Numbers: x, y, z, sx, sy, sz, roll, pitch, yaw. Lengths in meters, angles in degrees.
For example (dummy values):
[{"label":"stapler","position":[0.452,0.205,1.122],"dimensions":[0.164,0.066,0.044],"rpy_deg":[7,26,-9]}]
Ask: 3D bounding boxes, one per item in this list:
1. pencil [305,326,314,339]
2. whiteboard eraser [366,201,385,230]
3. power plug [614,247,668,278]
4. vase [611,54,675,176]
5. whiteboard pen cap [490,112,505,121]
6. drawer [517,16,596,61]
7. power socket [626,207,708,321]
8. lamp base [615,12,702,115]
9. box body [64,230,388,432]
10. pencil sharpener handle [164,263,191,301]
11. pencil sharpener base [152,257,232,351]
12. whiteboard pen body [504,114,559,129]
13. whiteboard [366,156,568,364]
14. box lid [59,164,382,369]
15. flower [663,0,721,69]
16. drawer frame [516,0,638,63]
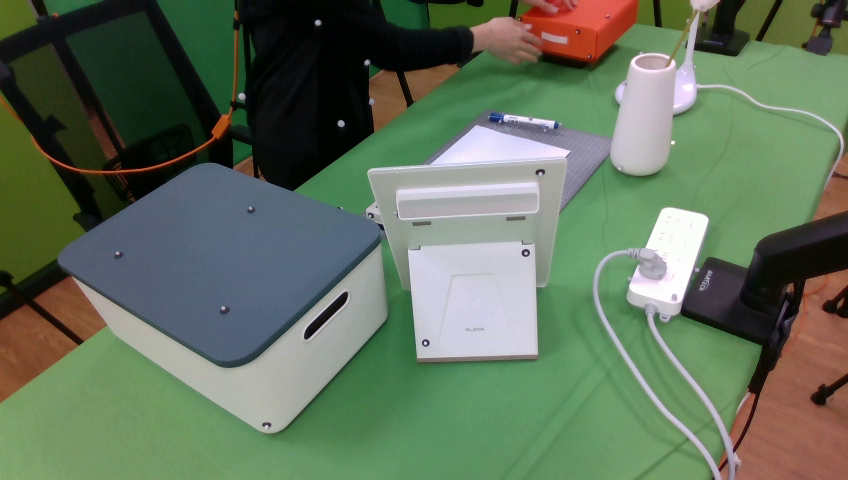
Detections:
[{"label":"pencil","position":[-0.187,0.106,0.880],"dimensions":[0.012,0.012,0.192],"rpy_deg":[-27,41,-22]},{"label":"whiteboard eraser","position":[-0.038,-0.038,1.006],"dimensions":[0.112,0.042,0.055],"rpy_deg":[16,48,25]},{"label":"power plug","position":[0.306,0.031,0.851],"dimensions":[0.072,0.053,0.035],"rpy_deg":[24,49,33]},{"label":"vase","position":[0.377,-0.209,1.031],"dimensions":[0.098,0.201,0.097],"rpy_deg":[-4,40,3]},{"label":"whiteboard pen cap","position":[0.154,-0.254,1.250],"dimensions":[0.033,0.018,0.018],"rpy_deg":[14,45,26]},{"label":"drawer","position":[0.352,-0.505,1.406],"dimensions":[0.193,0.073,0.212],"rpy_deg":[23,48,32]},{"label":"power socket","position":[0.360,0.025,0.886],"dimensions":[0.072,0.033,0.227],"rpy_deg":[16,46,26]},{"label":"lamp base","position":[0.484,-0.364,1.211],"dimensions":[0.180,0.181,0.159],"rpy_deg":[-15,41,-14]},{"label":"box body","position":[-0.256,0.065,0.827],"dimensions":[0.361,0.161,0.255],"rpy_deg":[20,48,29]},{"label":"pencil sharpener handle","position":[-0.354,0.055,0.866],"dimensions":[0.036,0.068,0.030],"rpy_deg":[-17,39,-29]},{"label":"pencil sharpener base","position":[-0.322,0.088,0.841],"dimensions":[0.061,0.107,0.076],"rpy_deg":[-27,44,-20]},{"label":"whiteboard pen body","position":[0.205,-0.242,1.225],"dimensions":[0.140,0.017,0.017],"rpy_deg":[14,45,26]},{"label":"whiteboard","position":[0.059,0.050,0.738],"dimensions":[0.217,0.307,0.143],"rpy_deg":[-2,60,6]},{"label":"box lid","position":[-0.263,0.010,0.777],"dimensions":[0.368,0.015,0.264],"rpy_deg":[20,47,29]},{"label":"flower","position":[0.379,-0.261,0.965],"dimensions":[0.044,0.362,0.038],"rpy_deg":[20,53,5]},{"label":"drawer frame","position":[0.355,-0.508,1.410],"dimensions":[0.200,0.083,0.214],"rpy_deg":[23,51,32]}]
